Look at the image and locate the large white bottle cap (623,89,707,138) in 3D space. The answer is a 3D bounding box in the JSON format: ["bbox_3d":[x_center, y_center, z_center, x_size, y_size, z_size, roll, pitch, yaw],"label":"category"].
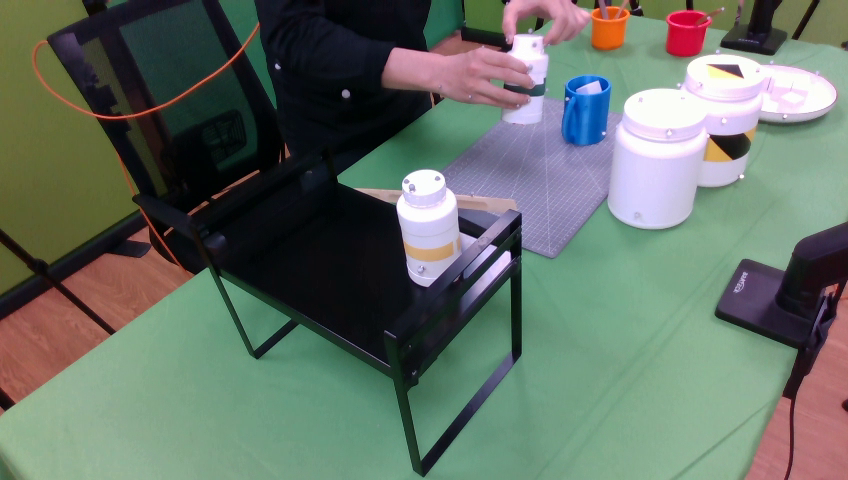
[{"bbox_3d":[0.352,-0.187,0.886,0.115,0.018,0.114,-4,41,4],"label":"large white bottle cap"}]

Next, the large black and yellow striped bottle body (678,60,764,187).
[{"bbox_3d":[0.482,-0.196,1.008,0.131,0.185,0.130,-4,41,4],"label":"large black and yellow striped bottle body"}]

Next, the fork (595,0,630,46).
[{"bbox_3d":[0.479,-0.556,1.452,0.028,0.019,0.207,41,103,40],"label":"fork"}]

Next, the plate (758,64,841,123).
[{"bbox_3d":[0.694,-0.283,1.189,0.207,0.039,0.206,-4,40,4],"label":"plate"}]

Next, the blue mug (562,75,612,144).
[{"bbox_3d":[0.298,-0.239,1.143,0.117,0.106,0.081,-37,48,-29],"label":"blue mug"}]

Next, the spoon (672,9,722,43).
[{"bbox_3d":[0.606,-0.476,1.345,0.042,0.021,0.193,-6,-3,-2],"label":"spoon"}]

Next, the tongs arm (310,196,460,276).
[{"bbox_3d":[-0.078,-0.012,0.944,0.028,0.028,0.384,-43,39,-22],"label":"tongs arm"}]

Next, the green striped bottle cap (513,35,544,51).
[{"bbox_3d":[0.151,-0.283,0.871,0.044,0.020,0.044,1,26,0],"label":"green striped bottle cap"}]

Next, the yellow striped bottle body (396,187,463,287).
[{"bbox_3d":[0.006,-0.013,0.638,0.063,0.121,0.062,-5,41,5],"label":"yellow striped bottle body"}]

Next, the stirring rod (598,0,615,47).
[{"bbox_3d":[0.437,-0.551,1.462,0.014,0.006,0.175,-11,83,1],"label":"stirring rod"}]

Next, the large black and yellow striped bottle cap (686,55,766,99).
[{"bbox_3d":[0.474,-0.258,0.952,0.115,0.019,0.114,-5,41,5],"label":"large black and yellow striped bottle cap"}]

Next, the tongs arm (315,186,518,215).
[{"bbox_3d":[-0.028,-0.060,0.988,0.382,0.027,0.051,10,45,36],"label":"tongs arm"}]

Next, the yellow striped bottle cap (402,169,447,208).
[{"bbox_3d":[0.000,-0.052,0.605,0.044,0.019,0.044,-5,43,5],"label":"yellow striped bottle cap"}]

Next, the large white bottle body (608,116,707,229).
[{"bbox_3d":[0.361,-0.124,0.942,0.130,0.185,0.130,-4,41,4],"label":"large white bottle body"}]

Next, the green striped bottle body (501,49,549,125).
[{"bbox_3d":[0.149,-0.236,0.895,0.063,0.119,0.063,1,28,0],"label":"green striped bottle body"}]
